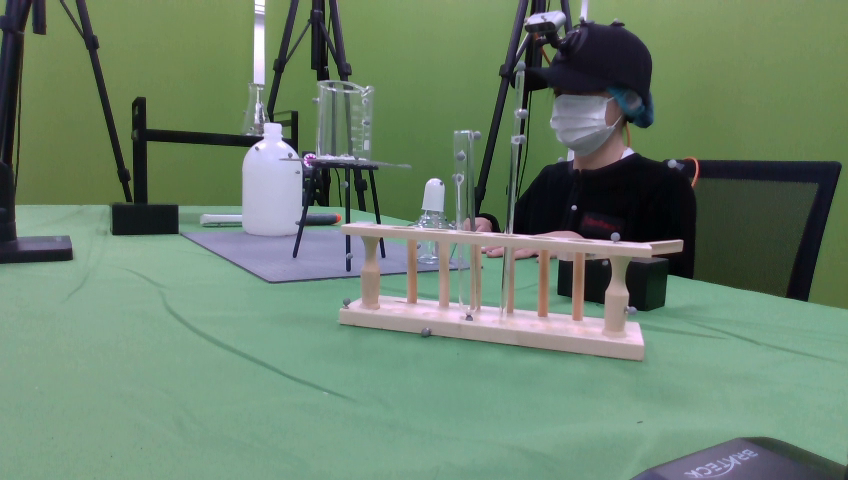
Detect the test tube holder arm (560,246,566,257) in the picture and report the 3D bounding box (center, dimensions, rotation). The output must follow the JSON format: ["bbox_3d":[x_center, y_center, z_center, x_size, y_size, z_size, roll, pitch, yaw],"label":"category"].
[{"bbox_3d":[0.173,0.007,0.611,0.088,0.015,0.010,-3,9,-30],"label":"test tube holder arm"}]

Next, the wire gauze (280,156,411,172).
[{"bbox_3d":[-0.103,-0.103,0.785,0.121,0.011,0.126,11,8,42],"label":"wire gauze"}]

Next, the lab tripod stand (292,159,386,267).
[{"bbox_3d":[-0.105,-0.039,0.797,0.148,0.131,0.148,2,5,0],"label":"lab tripod stand"}]

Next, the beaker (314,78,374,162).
[{"bbox_3d":[-0.101,-0.150,0.773,0.074,0.100,0.083,-2,8,-40],"label":"beaker"}]

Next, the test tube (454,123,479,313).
[{"bbox_3d":[0.034,-0.016,0.477,0.017,0.150,0.017,-2,9,1],"label":"test tube"}]

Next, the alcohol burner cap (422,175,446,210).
[{"bbox_3d":[0.016,-0.065,0.830,0.034,0.048,0.034,7,4,0],"label":"alcohol burner cap"}]

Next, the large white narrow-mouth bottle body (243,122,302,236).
[{"bbox_3d":[-0.264,-0.109,1.061,0.102,0.194,0.102,2,8,0],"label":"large white narrow-mouth bottle body"}]

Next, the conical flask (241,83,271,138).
[{"bbox_3d":[-0.384,-0.297,1.393,0.075,0.122,0.075,2,7,0],"label":"conical flask"}]

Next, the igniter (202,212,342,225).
[{"bbox_3d":[-0.298,-0.043,1.216,0.278,0.025,0.057,-3,-2,-32],"label":"igniter"}]

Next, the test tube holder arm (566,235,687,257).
[{"bbox_3d":[0.215,0.006,0.630,0.179,0.015,0.013,-3,9,-30],"label":"test tube holder arm"}]

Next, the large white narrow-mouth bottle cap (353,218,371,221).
[{"bbox_3d":[-0.120,-0.029,1.184,0.038,0.024,0.037,2,8,0],"label":"large white narrow-mouth bottle cap"}]

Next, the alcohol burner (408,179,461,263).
[{"bbox_3d":[0.014,-0.029,0.834,0.078,0.119,0.078,0,6,0],"label":"alcohol burner"}]

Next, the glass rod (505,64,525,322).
[{"bbox_3d":[0.069,-0.030,0.458,0.008,0.199,0.008,0,15,0],"label":"glass rod"}]

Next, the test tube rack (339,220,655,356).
[{"bbox_3d":[0.056,0.032,0.495,0.242,0.085,0.067,4,7,15],"label":"test tube rack"}]
